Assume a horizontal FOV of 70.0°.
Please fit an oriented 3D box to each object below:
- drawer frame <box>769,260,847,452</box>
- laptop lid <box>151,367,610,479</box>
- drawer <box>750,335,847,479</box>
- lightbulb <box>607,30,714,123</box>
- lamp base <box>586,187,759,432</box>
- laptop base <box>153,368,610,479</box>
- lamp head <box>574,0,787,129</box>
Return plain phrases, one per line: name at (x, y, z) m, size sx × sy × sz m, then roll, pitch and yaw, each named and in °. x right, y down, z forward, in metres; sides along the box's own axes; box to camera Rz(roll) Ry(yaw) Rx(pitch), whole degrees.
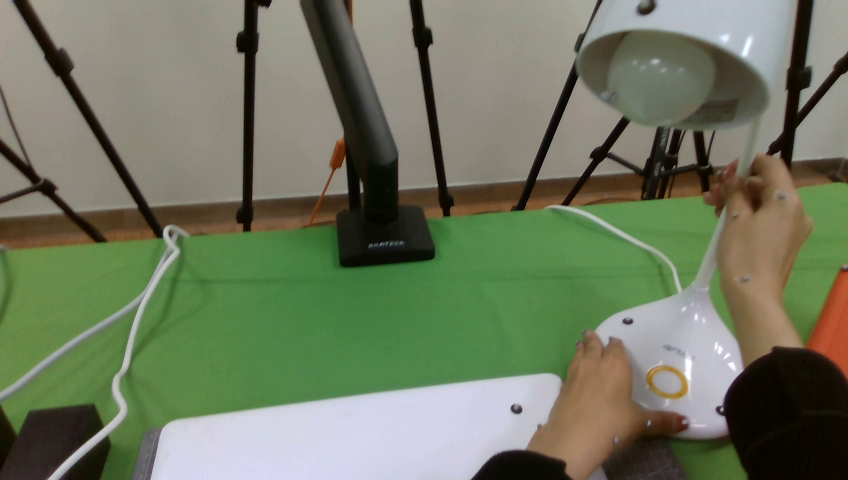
drawer frame at (0.446, 0.127, 0.536) m, size 0.200 × 0.083 × 0.213 m, roll 24°, pitch 40°, yaw 31°
laptop lid at (-0.028, 0.201, 0.450) m, size 0.357 × 0.013 × 0.239 m, roll -4°, pitch 37°, yaw -7°
drawer at (0.377, 0.177, 0.465) m, size 0.193 × 0.074 × 0.211 m, roll 23°, pitch 40°, yaw 31°
lightbulb at (0.149, -0.122, 0.359) m, size 0.059 × 0.107 × 0.059 m, roll 23°, pitch -1°, yaw 1°
lamp base at (0.247, 0.050, 0.554) m, size 0.160 × 0.181 × 0.178 m, roll 16°, pitch 34°, yaw 18°
laptop base at (-0.028, 0.208, 0.457) m, size 0.355 × 0.023 × 0.233 m, roll -5°, pitch 39°, yaw -8°
lamp head at (0.164, -0.141, 0.364) m, size 0.111 × 0.113 × 0.122 m, roll 20°, pitch 78°, yaw 26°
